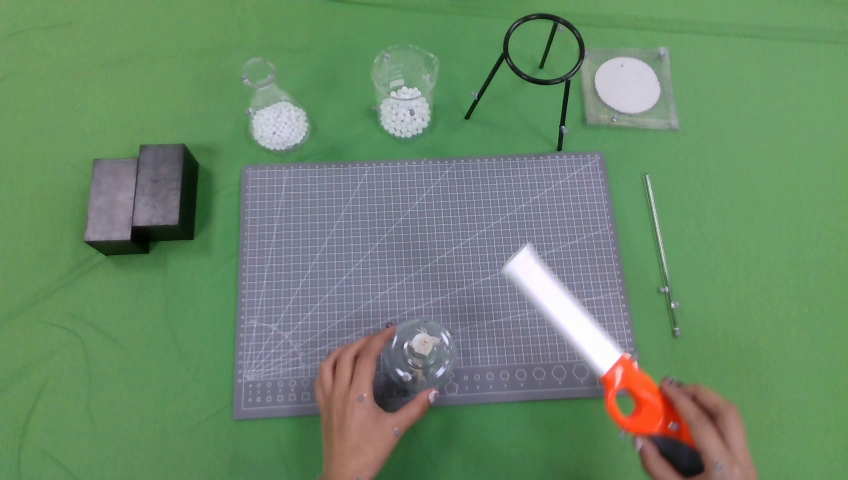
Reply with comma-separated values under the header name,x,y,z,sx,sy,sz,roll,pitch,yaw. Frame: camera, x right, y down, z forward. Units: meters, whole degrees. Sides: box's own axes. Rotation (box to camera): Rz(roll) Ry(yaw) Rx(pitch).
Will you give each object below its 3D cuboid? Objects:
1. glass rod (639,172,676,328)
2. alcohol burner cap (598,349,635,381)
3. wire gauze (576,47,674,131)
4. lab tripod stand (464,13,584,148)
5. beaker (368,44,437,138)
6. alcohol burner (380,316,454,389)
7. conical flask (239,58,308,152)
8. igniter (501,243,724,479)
name,x,y,z,sx,sy,sz,roll,pitch,yaw
glass rod,0.281,0.008,0.730,0.008,0.008,0.198,-3,72,-4
alcohol burner cap,0.214,0.135,0.665,0.034,0.048,0.033,1,71,-2
wire gauze,0.265,-0.202,0.798,0.125,0.011,0.120,2,73,-3
lab tripod stand,0.124,-0.189,0.721,0.148,0.132,0.147,0,74,-1
beaker,-0.024,-0.176,0.729,0.084,0.101,0.073,-29,75,-11
alcohol burner,-0.006,0.113,0.626,0.078,0.120,0.077,1,70,-3
conical flask,-0.180,-0.161,0.705,0.075,0.122,0.075,1,71,-2
igniter,0.170,0.115,0.537,0.057,0.025,0.276,-43,92,-12
